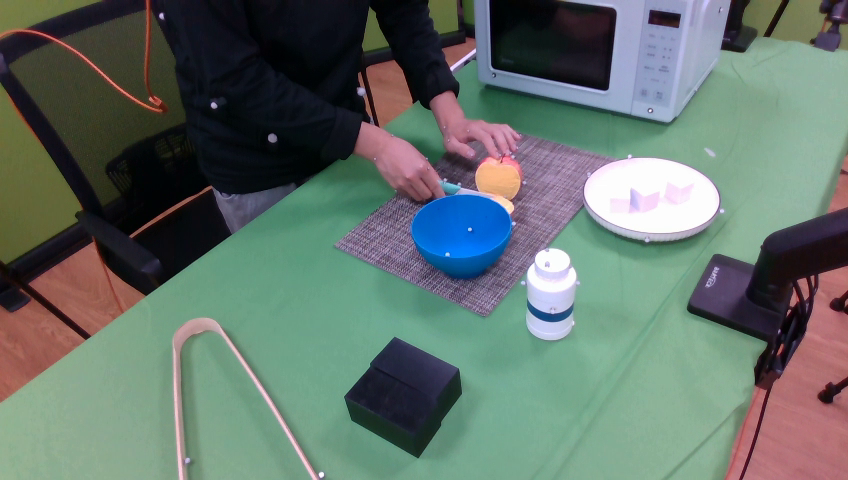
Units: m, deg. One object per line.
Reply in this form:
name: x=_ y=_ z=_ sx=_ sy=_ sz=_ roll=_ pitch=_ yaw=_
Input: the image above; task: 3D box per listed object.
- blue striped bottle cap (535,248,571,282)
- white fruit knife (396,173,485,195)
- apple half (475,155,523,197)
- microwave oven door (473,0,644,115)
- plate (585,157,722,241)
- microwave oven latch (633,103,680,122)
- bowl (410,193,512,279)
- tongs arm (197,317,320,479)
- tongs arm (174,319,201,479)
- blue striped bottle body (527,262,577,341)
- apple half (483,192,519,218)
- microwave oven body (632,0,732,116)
blue striped bottle cap: x=0.161 y=0.031 z=0.753 sx=0.044 sy=0.021 sz=0.044 roll=-4 pitch=42 yaw=4
white fruit knife: x=0.053 y=-0.085 z=1.036 sx=0.207 sy=0.027 sz=0.016 roll=13 pitch=46 yaw=6
apple half: x=0.131 y=-0.109 z=1.033 sx=0.080 sy=0.075 sz=0.053 roll=7 pitch=31 yaw=16
microwave oven door: x=0.257 y=-0.396 z=1.199 sx=0.353 sy=0.245 sz=0.039 roll=21 pitch=48 yaw=29
plate: x=0.367 y=-0.063 z=0.979 sx=0.207 sy=0.039 sz=0.206 roll=-4 pitch=40 yaw=4
microwave oven latch: x=0.444 y=-0.249 z=1.158 sx=0.078 sy=0.029 sz=0.030 roll=21 pitch=49 yaw=30
bowl: x=0.058 y=0.005 z=0.905 sx=0.151 sy=0.077 sz=0.150 roll=-4 pitch=40 yaw=4
tongs arm: x=-0.199 y=0.207 z=0.750 sx=0.028 sy=0.028 sz=0.384 roll=-31 pitch=45 yaw=-22
tongs arm: x=-0.272 y=0.234 z=0.723 sx=0.051 sy=0.026 sz=0.381 roll=-19 pitch=40 yaw=-14
blue striped bottle body: x=0.165 y=0.070 z=0.786 sx=0.063 sy=0.121 sz=0.063 roll=-4 pitch=41 yaw=4
apple half: x=0.116 y=-0.046 z=0.983 sx=0.081 sy=0.033 sz=0.081 roll=-7 pitch=34 yaw=5
microwave oven body: x=0.377 y=-0.463 z=1.267 sx=0.438 sy=0.261 sz=0.327 roll=21 pitch=49 yaw=30
